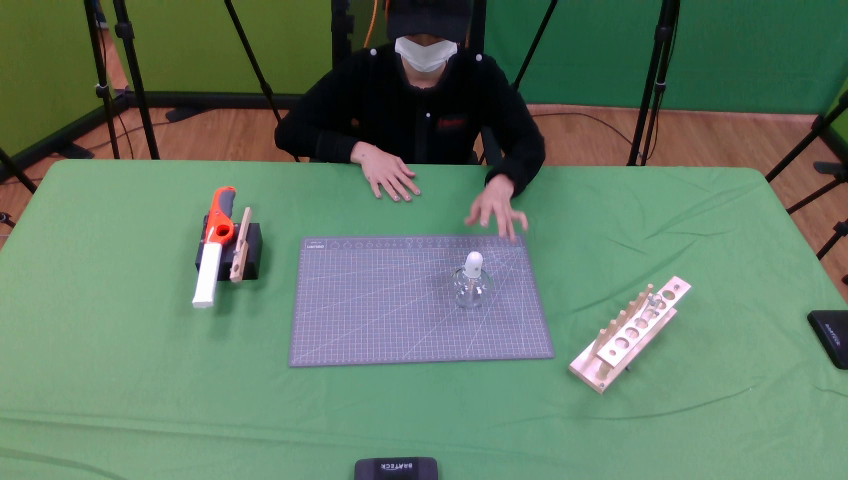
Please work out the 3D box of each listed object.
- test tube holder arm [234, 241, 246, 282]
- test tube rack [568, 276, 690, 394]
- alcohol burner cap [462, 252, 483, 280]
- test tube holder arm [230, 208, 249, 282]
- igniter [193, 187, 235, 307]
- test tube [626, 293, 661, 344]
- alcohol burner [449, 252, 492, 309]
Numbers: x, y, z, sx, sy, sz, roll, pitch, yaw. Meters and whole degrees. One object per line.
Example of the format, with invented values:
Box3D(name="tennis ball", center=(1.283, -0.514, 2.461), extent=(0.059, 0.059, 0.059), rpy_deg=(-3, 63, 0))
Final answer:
Box3D(name="test tube holder arm", center=(-0.324, 0.037, 1.072), extent=(0.010, 0.015, 0.087), rpy_deg=(-6, 46, -2))
Box3D(name="test tube rack", center=(0.353, 0.149, 1.039), extent=(0.242, 0.085, 0.066), rpy_deg=(-34, 56, -31))
Box3D(name="alcohol burner cap", center=(0.085, 0.041, 1.048), extent=(0.034, 0.048, 0.033), rpy_deg=(4, 44, -4))
Box3D(name="test tube holder arm", center=(-0.335, 0.006, 1.103), extent=(0.013, 0.015, 0.177), rpy_deg=(-7, 46, -2))
Box3D(name="igniter", center=(-0.378, 0.003, 1.096), extent=(0.057, 0.025, 0.274), rpy_deg=(-1, 49, -6))
Box3D(name="test tube", center=(0.355, 0.133, 0.984), extent=(0.017, 0.151, 0.017), rpy_deg=(1, 52, 0))
Box3D(name="alcohol burner", center=(0.084, 0.066, 1.074), extent=(0.078, 0.120, 0.077), rpy_deg=(1, 44, -1))
